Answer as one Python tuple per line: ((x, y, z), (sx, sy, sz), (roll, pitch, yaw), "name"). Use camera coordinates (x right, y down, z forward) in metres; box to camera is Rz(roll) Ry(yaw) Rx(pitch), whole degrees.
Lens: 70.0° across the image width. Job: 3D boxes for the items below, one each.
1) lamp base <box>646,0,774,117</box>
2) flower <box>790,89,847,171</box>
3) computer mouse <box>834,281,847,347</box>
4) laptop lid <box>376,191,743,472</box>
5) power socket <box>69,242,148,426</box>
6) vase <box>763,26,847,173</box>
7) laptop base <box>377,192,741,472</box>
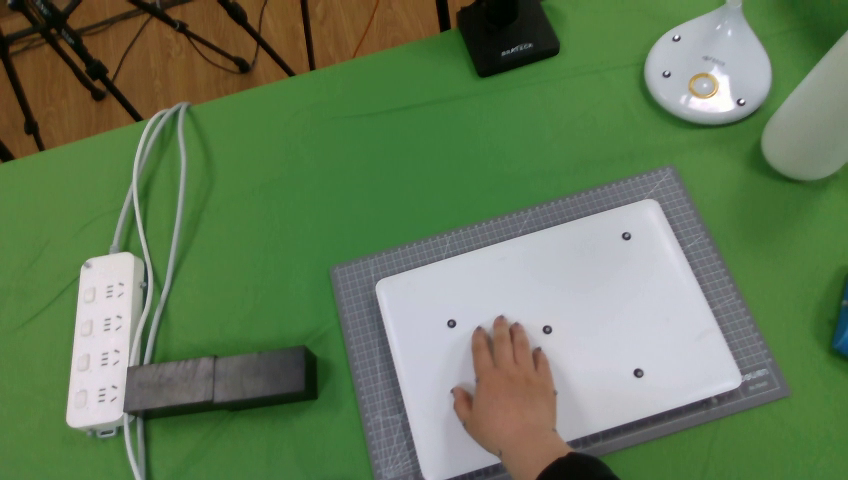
((0.370, -0.272, 0.730), (0.160, 0.182, 0.178), (15, 67, 12), "lamp base")
((0.456, -0.201, 0.590), (0.038, 0.364, 0.043), (-23, 56, -23), "flower")
((0.489, 0.070, 0.650), (0.062, 0.041, 0.116), (22, 67, 18), "computer mouse")
((0.141, 0.092, 0.674), (0.357, 0.013, 0.239), (-15, 69, -1), "laptop lid")
((-0.375, 0.105, 0.725), (0.072, 0.033, 0.225), (-9, 66, 1), "power socket")
((0.451, -0.156, 0.662), (0.098, 0.201, 0.097), (-3, 66, 7), "vase")
((0.141, 0.094, 0.685), (0.354, 0.023, 0.233), (-17, 70, -2), "laptop base")
